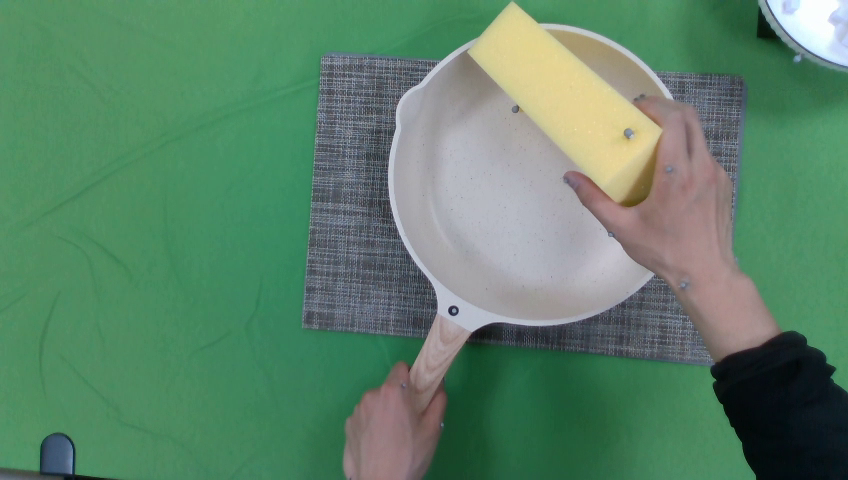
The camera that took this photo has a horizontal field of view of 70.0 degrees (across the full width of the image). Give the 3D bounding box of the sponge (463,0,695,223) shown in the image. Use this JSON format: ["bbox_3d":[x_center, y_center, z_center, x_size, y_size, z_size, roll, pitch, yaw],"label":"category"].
[{"bbox_3d":[0.135,-0.116,0.542,0.061,0.119,0.204,-46,53,16],"label":"sponge"}]

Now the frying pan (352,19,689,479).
[{"bbox_3d":[0.056,0.022,0.602,0.306,0.103,0.487,30,84,4],"label":"frying pan"}]

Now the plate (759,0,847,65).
[{"bbox_3d":[0.406,-0.262,0.563,0.207,0.039,0.207,0,91,3],"label":"plate"}]
